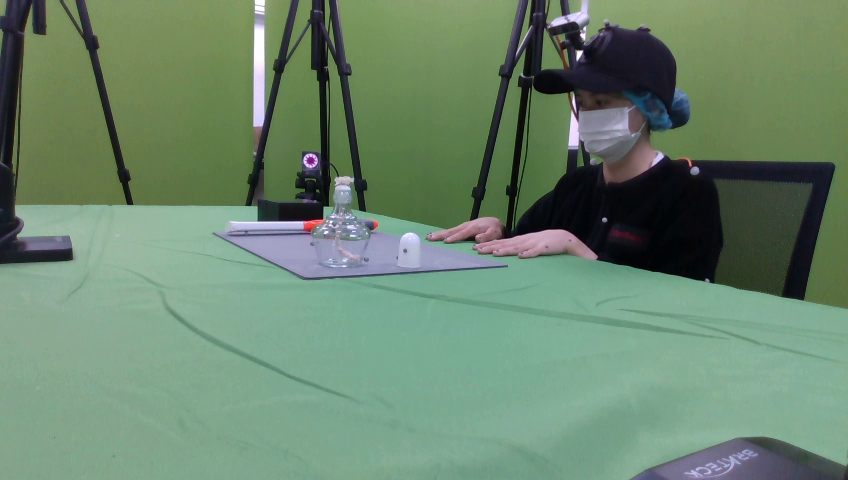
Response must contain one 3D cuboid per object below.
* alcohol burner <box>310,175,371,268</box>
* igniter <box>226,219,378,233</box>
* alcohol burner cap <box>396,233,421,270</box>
[{"bbox_3d":[-0.107,-0.024,0.778,0.078,0.119,0.078,3,5,0],"label":"alcohol burner"},{"bbox_3d":[-0.213,-0.025,1.092,0.278,0.025,0.057,-2,-2,-32],"label":"igniter"},{"bbox_3d":[-0.020,0.014,0.795,0.034,0.048,0.034,2,6,0],"label":"alcohol burner cap"}]
